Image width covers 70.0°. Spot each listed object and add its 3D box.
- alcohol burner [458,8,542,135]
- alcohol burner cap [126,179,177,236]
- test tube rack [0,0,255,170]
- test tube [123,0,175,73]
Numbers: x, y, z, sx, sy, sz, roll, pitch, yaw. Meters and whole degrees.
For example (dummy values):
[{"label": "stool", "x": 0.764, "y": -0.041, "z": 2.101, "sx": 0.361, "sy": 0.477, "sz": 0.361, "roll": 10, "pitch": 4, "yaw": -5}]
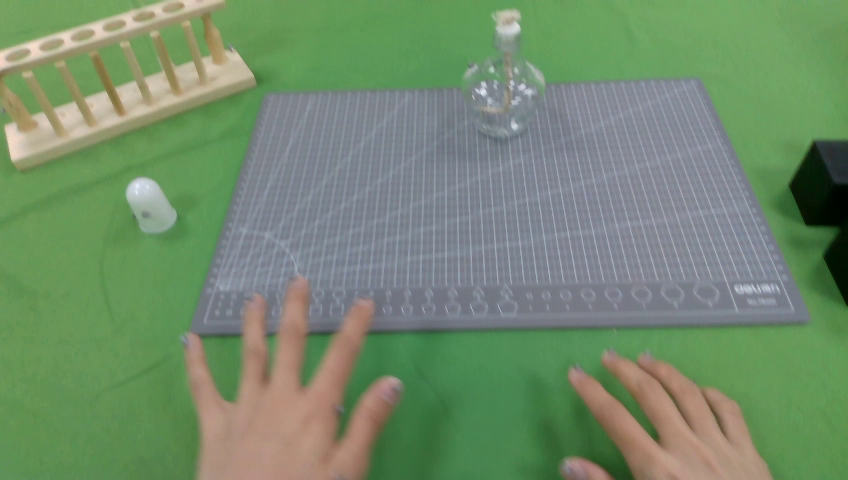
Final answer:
[{"label": "alcohol burner", "x": 0.070, "y": -0.155, "z": 0.549, "sx": 0.078, "sy": 0.120, "sz": 0.077, "roll": -1, "pitch": 51, "yaw": 1}, {"label": "alcohol burner cap", "x": -0.234, "y": -0.031, "z": 0.514, "sx": 0.034, "sy": 0.048, "sz": 0.033, "roll": -1, "pitch": 49, "yaw": 2}, {"label": "test tube rack", "x": -0.304, "y": -0.164, "z": 0.603, "sx": 0.242, "sy": 0.086, "sz": 0.066, "roll": -26, "pitch": 53, "yaw": -17}, {"label": "test tube", "x": -0.281, "y": -0.230, "z": 0.587, "sx": 0.017, "sy": 0.152, "sz": 0.017, "roll": -7, "pitch": 43, "yaw": 7}]
